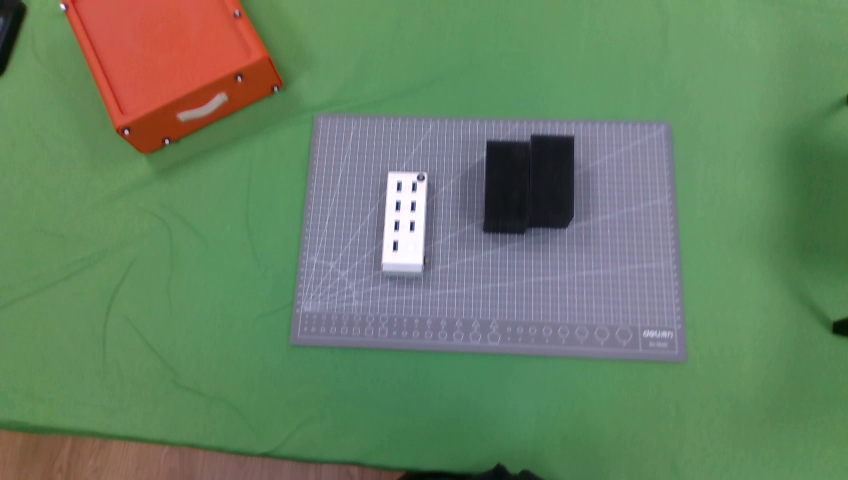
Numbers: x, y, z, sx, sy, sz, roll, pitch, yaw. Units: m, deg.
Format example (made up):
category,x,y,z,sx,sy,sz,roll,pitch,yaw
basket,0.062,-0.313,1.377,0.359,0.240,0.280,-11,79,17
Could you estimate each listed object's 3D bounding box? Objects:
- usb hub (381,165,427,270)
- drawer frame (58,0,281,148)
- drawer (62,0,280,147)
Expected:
category,x,y,z,sx,sy,sz,roll,pitch,yaw
usb hub,-0.023,-0.028,0.720,0.049,0.025,0.124,1,75,2
drawer frame,-0.321,-0.256,0.767,0.202,0.083,0.212,-30,75,-5
drawer,-0.320,-0.253,0.769,0.194,0.073,0.210,-29,75,-5
